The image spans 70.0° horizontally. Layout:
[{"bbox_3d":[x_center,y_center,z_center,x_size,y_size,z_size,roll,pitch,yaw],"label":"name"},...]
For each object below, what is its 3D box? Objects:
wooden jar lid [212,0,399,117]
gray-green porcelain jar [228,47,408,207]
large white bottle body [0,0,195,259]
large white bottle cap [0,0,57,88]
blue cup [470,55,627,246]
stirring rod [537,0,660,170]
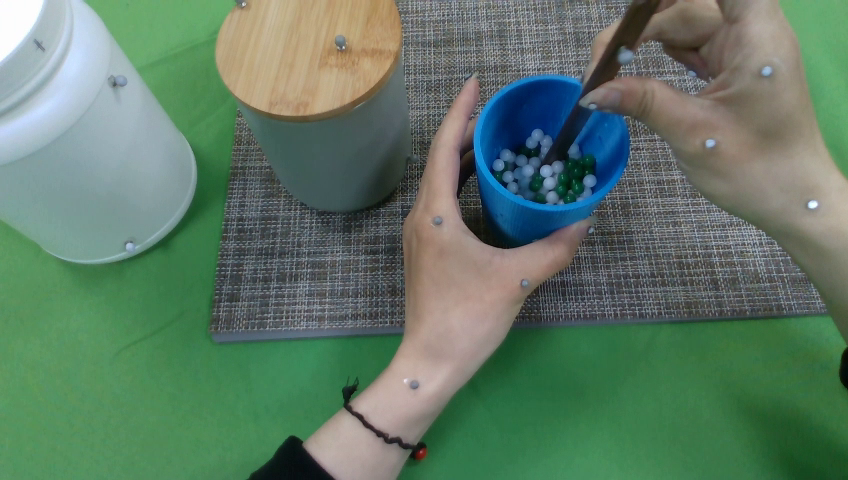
[{"bbox_3d":[-0.068,-0.115,0.355,0.108,0.021,0.107,-2,67,5],"label":"wooden jar lid"},{"bbox_3d":[-0.065,-0.089,0.412,0.106,0.127,0.105,-1,66,3],"label":"gray-green porcelain jar"},{"bbox_3d":[-0.244,-0.079,0.387,0.130,0.186,0.129,-1,66,2],"label":"large white bottle body"},{"bbox_3d":[-0.249,-0.113,0.309,0.115,0.018,0.114,-1,67,2],"label":"large white bottle cap"},{"bbox_3d":[0.068,-0.041,0.375,0.092,0.101,0.092,0,70,1],"label":"blue cup"},{"bbox_3d":[0.084,-0.072,0.318,0.014,0.177,0.006,-29,77,-11],"label":"stirring rod"}]
